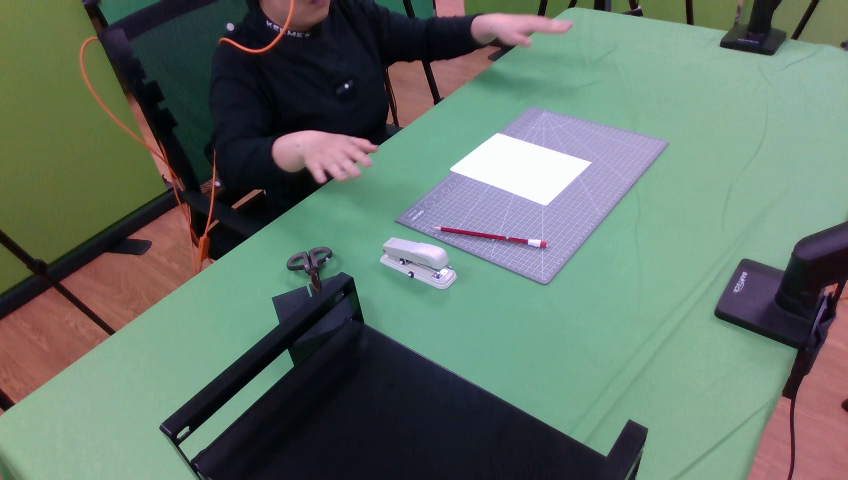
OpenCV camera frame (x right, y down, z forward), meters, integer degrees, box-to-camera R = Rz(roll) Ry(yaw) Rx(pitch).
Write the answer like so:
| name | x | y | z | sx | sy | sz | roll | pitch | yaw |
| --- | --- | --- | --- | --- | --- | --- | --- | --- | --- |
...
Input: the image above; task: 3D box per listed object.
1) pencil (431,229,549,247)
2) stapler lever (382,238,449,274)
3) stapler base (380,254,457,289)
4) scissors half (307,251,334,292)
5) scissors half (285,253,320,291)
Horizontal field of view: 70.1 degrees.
| name | x | y | z | sx | sy | sz | roll | pitch | yaw |
| --- | --- | --- | --- | --- | --- | --- | --- | --- | --- |
| pencil | 0.103 | -0.005 | 0.970 | 0.193 | 0.012 | 0.012 | 8 | 42 | 18 |
| stapler lever | -0.014 | 0.018 | 0.919 | 0.117 | 0.040 | 0.027 | 21 | 45 | 31 |
| stapler base | -0.010 | 0.037 | 0.934 | 0.129 | 0.024 | 0.041 | 20 | 45 | 31 |
| scissors half | -0.159 | 0.046 | 0.913 | 0.040 | 0.013 | 0.174 | -4 | 17 | -4 |
| scissors half | -0.179 | 0.049 | 0.909 | 0.040 | 0.013 | 0.174 | -15 | 19 | -20 |
